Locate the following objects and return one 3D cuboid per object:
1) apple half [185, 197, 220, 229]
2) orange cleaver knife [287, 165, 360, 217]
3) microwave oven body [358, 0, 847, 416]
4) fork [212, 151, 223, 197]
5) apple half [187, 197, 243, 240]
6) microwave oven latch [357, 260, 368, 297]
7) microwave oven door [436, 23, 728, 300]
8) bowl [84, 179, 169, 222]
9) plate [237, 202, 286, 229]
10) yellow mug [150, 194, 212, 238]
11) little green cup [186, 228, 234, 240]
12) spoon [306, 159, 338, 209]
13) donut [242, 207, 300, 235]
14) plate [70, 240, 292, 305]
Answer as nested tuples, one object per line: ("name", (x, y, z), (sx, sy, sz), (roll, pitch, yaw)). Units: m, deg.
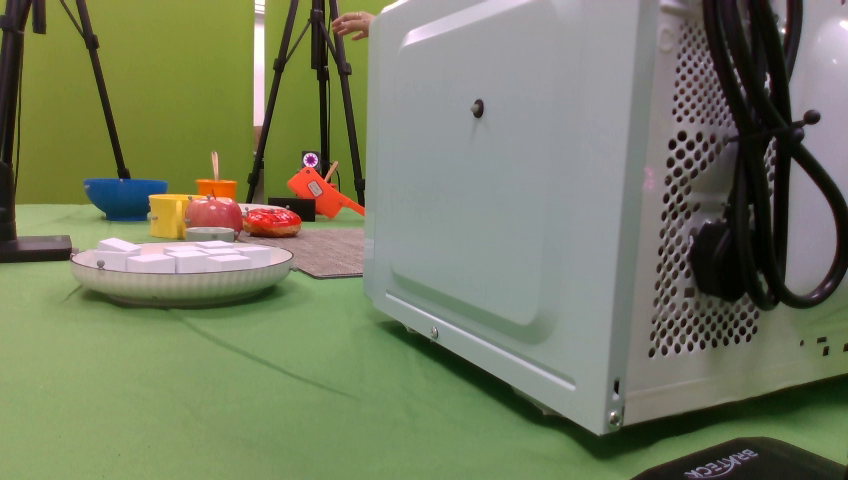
("apple half", (-0.338, -0.031, 0.927), (0.032, 0.081, 0.081), (12, 12, 31))
("orange cleaver knife", (-0.210, -0.093, 1.382), (0.212, 0.077, 0.012), (33, 0, -15))
("microwave oven body", (0.211, -0.047, 0.475), (0.444, 0.260, 0.324), (-1, 7, -28))
("fork", (-0.494, -0.143, 1.442), (0.028, 0.018, 0.206), (-2, 52, -20))
("apple half", (-0.305, -0.026, 0.907), (0.053, 0.074, 0.081), (12, 8, 31))
("microwave oven latch", (-0.019, 0.033, 0.531), (0.079, 0.029, 0.030), (-1, 7, -27))
("microwave oven door", (0.180, -0.072, 0.621), (0.358, 0.243, 0.039), (-2, 9, -29))
("bowl", (-0.584, -0.078, 1.194), (0.151, 0.077, 0.151), (3, 8, 0))
("plate", (-0.376, -0.048, 1.183), (0.209, 0.038, 0.209), (2, 8, 0))
("yellow mug", (-0.401, -0.039, 1.003), (0.100, 0.064, 0.130), (0, 9, -20))
("little green cup", (-0.284, 0.005, 0.805), (0.061, 0.038, 0.061), (3, 8, 0))
("spoon", (-0.257, -0.147, 1.567), (0.041, 0.022, 0.193), (2, 51, 20))
("donut", (-0.263, -0.032, 1.039), (0.099, 0.048, 0.099), (4, 9, 0))
("plate", (-0.242, 0.031, 0.618), (0.208, 0.039, 0.207), (2, 8, 0))
